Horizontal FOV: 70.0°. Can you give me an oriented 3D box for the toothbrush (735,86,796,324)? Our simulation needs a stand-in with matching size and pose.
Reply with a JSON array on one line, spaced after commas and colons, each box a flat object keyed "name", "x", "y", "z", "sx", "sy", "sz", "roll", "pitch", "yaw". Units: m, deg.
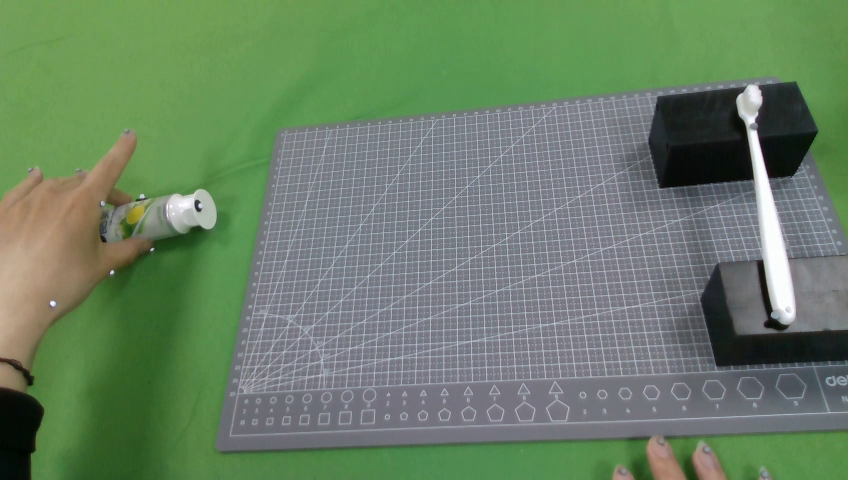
[{"name": "toothbrush", "x": 0.222, "y": -0.031, "z": 0.394, "sx": 0.014, "sy": 0.017, "sz": 0.180, "roll": 9, "pitch": 61, "yaw": -2}]

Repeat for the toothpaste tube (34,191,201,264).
[{"name": "toothpaste tube", "x": -0.266, "y": -0.017, "z": 0.532, "sx": 0.165, "sy": 0.035, "sz": 0.054, "roll": -10, "pitch": 53, "yaw": 9}]

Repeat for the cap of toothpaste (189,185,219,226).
[{"name": "cap of toothpaste", "x": -0.189, "y": -0.029, "z": 0.518, "sx": 0.011, "sy": 0.038, "sz": 0.037, "roll": -10, "pitch": 56, "yaw": 9}]
